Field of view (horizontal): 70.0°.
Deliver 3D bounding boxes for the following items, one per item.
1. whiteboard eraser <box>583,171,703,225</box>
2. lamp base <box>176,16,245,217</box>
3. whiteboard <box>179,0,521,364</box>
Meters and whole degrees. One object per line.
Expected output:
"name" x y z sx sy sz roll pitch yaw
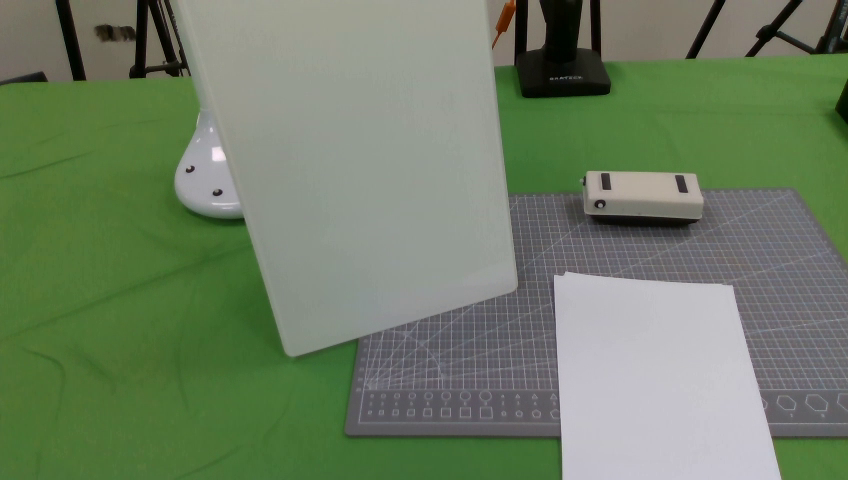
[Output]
"whiteboard eraser" 0.222 -0.043 0.621 0.112 0.042 0.055 3 43 8
"lamp base" -0.220 -0.142 0.664 0.177 0.182 0.160 29 51 35
"whiteboard" -0.055 -0.083 0.536 0.217 0.307 0.142 -15 23 -11
